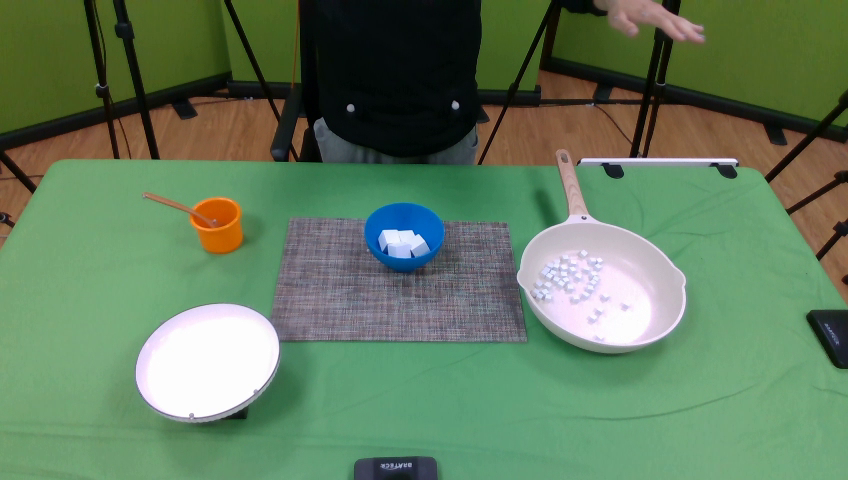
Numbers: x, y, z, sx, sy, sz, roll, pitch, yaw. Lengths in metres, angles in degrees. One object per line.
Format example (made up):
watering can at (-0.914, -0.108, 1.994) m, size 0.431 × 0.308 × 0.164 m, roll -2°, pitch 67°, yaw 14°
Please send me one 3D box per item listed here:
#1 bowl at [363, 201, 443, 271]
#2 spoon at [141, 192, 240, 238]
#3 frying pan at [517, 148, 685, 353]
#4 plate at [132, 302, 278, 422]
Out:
bowl at (-0.041, 0.006, 1.144) m, size 0.151 × 0.077 × 0.150 m, roll 2°, pitch 46°, yaw -2°
spoon at (-0.428, -0.048, 1.123) m, size 0.021 × 0.195 × 0.041 m, roll -39°, pitch 44°, yaw 20°
frying pan at (0.310, 0.002, 1.163) m, size 0.307 × 0.103 × 0.484 m, roll 0°, pitch 55°, yaw -5°
plate at (-0.325, 0.186, 0.916) m, size 0.208 × 0.039 × 0.206 m, roll 3°, pitch 45°, yaw -2°
